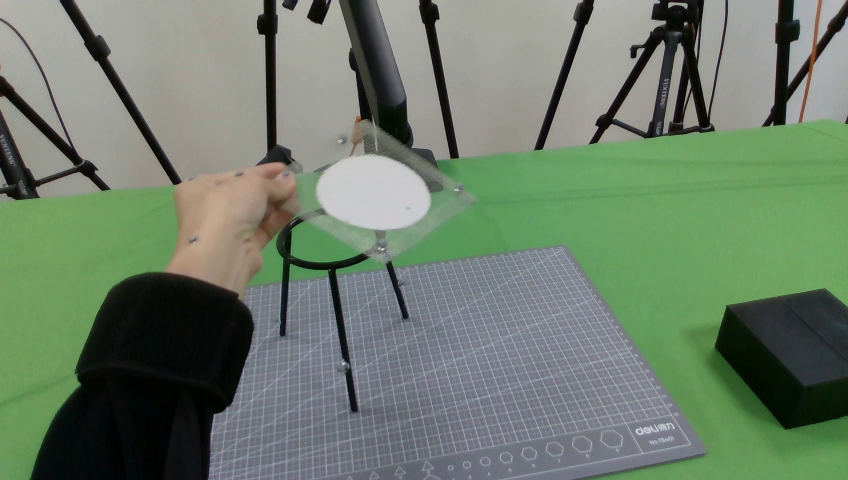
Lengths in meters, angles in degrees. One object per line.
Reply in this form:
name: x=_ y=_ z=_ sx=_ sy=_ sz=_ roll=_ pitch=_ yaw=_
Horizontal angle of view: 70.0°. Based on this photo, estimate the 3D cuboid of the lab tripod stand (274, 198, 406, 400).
lab tripod stand: x=-0.074 y=0.043 z=0.533 sx=0.148 sy=0.132 sz=0.147 roll=0 pitch=35 yaw=0

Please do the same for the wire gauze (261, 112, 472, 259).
wire gauze: x=-0.034 y=-0.047 z=0.438 sx=0.125 sy=0.011 sz=0.120 roll=25 pitch=39 yaw=-1
